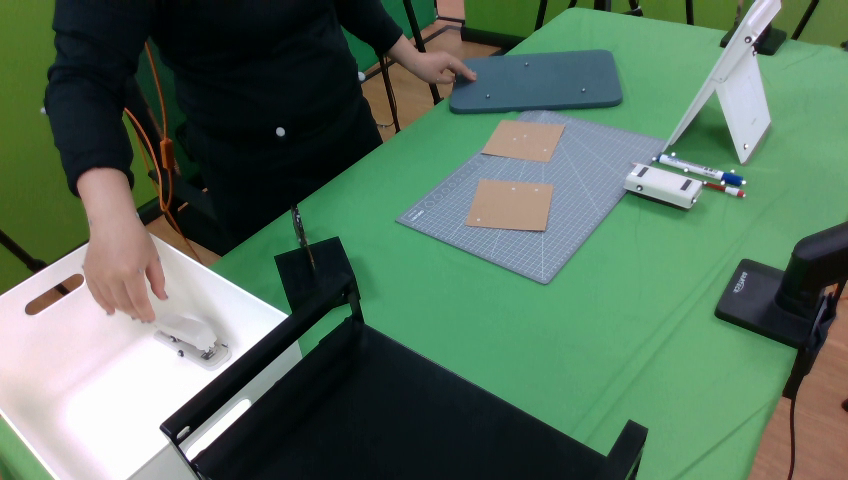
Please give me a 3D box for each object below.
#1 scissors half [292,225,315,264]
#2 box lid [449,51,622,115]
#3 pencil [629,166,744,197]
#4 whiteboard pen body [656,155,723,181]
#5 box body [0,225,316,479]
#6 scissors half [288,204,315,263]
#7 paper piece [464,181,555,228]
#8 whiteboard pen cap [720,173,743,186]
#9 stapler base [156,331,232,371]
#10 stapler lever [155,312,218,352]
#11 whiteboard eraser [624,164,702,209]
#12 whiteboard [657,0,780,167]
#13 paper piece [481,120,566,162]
[{"bbox_3d":[-0.188,0.007,0.954,0.013,0.040,0.174,-22,22,-12],"label":"scissors half"},{"bbox_3d":[0.250,-0.358,1.370,0.371,0.015,0.262,-1,40,9],"label":"box lid"},{"bbox_3d":[0.447,-0.103,1.038,0.192,0.012,0.012,21,48,29],"label":"pencil"},{"bbox_3d":[0.475,-0.122,1.052,0.139,0.017,0.017,25,50,32],"label":"whiteboard pen body"},{"bbox_3d":[-0.339,0.162,0.728,0.361,0.161,0.255,23,48,31],"label":"box body"},{"bbox_3d":[-0.191,-0.010,0.944,0.013,0.040,0.173,-18,38,-15],"label":"scissors half"},{"bbox_3d":[0.149,-0.062,1.034,0.137,0.009,0.136,4,37,17],"label":"paper piece"},{"bbox_3d":[0.519,-0.103,1.020,0.033,0.018,0.018,23,49,30],"label":"whiteboard pen cap"},{"bbox_3d":[-0.326,0.142,0.850,0.129,0.024,0.041,18,41,30],"label":"stapler base"},{"bbox_3d":[-0.330,0.122,0.836,0.117,0.040,0.027,17,41,31],"label":"stapler lever"},{"bbox_3d":[0.396,-0.087,1.003,0.112,0.042,0.056,22,48,31],"label":"whiteboard eraser"},{"bbox_3d":[0.571,-0.272,1.038,0.143,0.306,0.218,37,54,17],"label":"whiteboard"},{"bbox_3d":[0.197,-0.198,1.188,0.135,0.004,0.135,11,44,21],"label":"paper piece"}]
